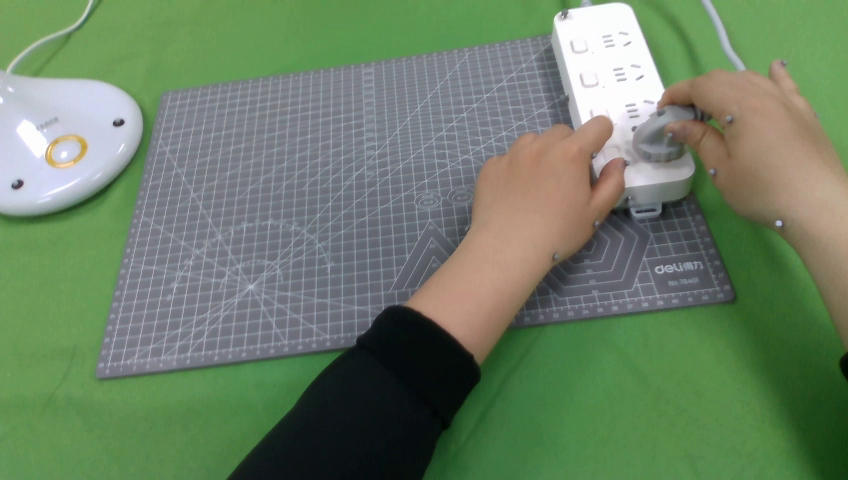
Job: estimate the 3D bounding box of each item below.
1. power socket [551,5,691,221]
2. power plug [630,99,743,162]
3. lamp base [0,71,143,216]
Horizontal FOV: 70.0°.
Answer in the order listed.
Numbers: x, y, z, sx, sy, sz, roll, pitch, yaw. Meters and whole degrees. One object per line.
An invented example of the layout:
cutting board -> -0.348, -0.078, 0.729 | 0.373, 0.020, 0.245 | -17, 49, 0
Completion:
power socket -> 0.155, -0.116, 0.499 | 0.072, 0.033, 0.224 | -6, 56, 4
power plug -> 0.186, -0.071, 0.435 | 0.072, 0.053, 0.035 | 2, 54, 14
lamp base -> -0.359, -0.135, 0.500 | 0.178, 0.182, 0.160 | 27, 63, 26
